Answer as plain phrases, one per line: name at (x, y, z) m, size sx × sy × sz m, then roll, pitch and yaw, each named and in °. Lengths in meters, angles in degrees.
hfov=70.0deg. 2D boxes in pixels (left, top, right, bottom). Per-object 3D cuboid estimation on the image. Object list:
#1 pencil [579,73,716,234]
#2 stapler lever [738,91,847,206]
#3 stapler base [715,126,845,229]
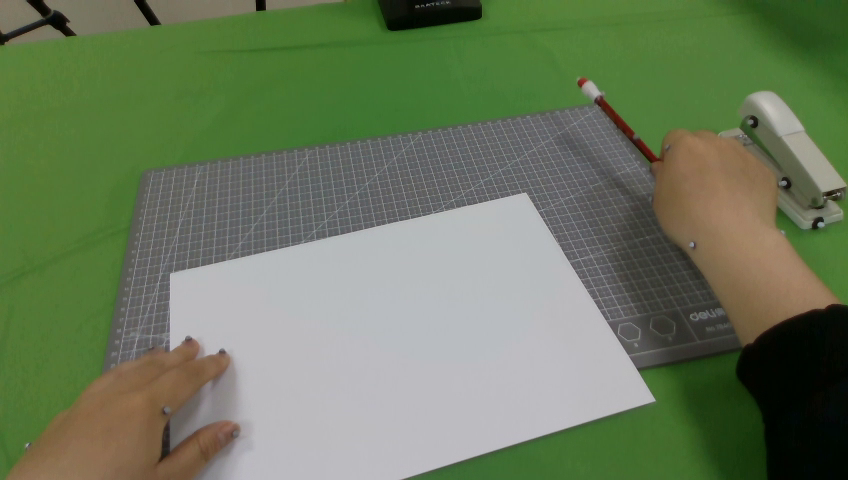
pencil at (0.185, -0.078, 0.511) m, size 0.012 × 0.012 × 0.192 m, roll -19°, pitch 59°, yaw -15°
stapler lever at (0.305, -0.080, 0.502) m, size 0.027 × 0.040 × 0.116 m, roll -15°, pitch 50°, yaw -8°
stapler base at (0.305, -0.064, 0.522) m, size 0.041 × 0.025 × 0.129 m, roll -15°, pitch 49°, yaw -8°
